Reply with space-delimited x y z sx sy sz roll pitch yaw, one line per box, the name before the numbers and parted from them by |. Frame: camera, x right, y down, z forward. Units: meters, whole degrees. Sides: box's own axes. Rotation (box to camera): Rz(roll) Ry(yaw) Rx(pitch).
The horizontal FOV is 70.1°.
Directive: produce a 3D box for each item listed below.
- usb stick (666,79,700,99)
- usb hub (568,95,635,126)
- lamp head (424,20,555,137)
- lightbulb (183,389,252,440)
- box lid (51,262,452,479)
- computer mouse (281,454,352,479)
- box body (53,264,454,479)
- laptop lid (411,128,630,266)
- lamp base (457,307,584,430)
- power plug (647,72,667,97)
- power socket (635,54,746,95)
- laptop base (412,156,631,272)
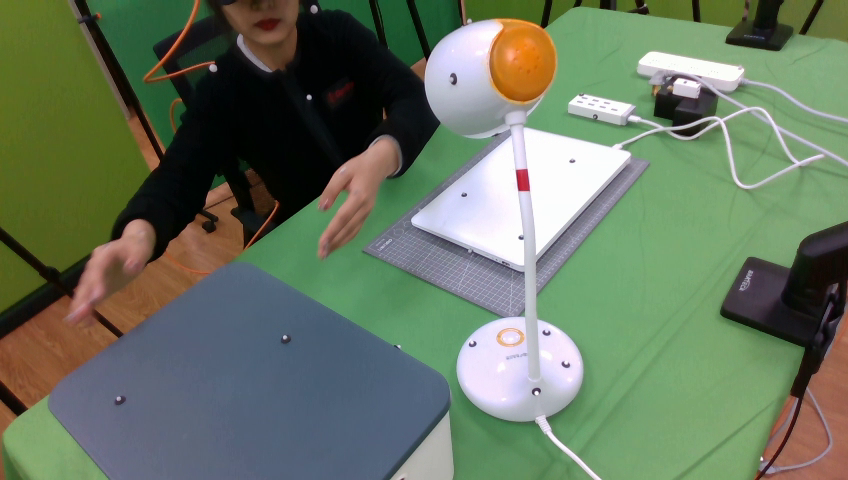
usb stick | 0.492 -0.288 1.152 0.058 0.027 0.021 20 50 34
usb hub | 0.360 -0.264 1.228 0.124 0.025 0.049 24 49 34
lamp head | 0.069 -0.153 0.572 0.113 0.112 0.122 -21 16 -14
lightbulb | -0.262 0.217 0.753 0.107 0.060 0.059 -9 35 32
box lid | -0.182 0.156 0.610 0.368 0.015 0.264 23 49 34
computer mouse | -0.110 0.279 0.656 0.116 0.041 0.063 20 51 36
box body | -0.173 0.212 0.659 0.361 0.161 0.255 23 50 33
laptop lid | 0.172 -0.093 1.049 0.239 0.013 0.358 23 49 36
lamp base | 0.115 0.108 0.713 0.161 0.181 0.178 -16 43 -8
power plug | 0.494 -0.320 1.260 0.073 0.052 0.035 1 19 -41
power socket | 0.564 -0.357 1.293 0.225 0.033 0.072 24 51 33
laptop base | 0.176 -0.084 1.055 0.233 0.023 0.355 21 48 36
